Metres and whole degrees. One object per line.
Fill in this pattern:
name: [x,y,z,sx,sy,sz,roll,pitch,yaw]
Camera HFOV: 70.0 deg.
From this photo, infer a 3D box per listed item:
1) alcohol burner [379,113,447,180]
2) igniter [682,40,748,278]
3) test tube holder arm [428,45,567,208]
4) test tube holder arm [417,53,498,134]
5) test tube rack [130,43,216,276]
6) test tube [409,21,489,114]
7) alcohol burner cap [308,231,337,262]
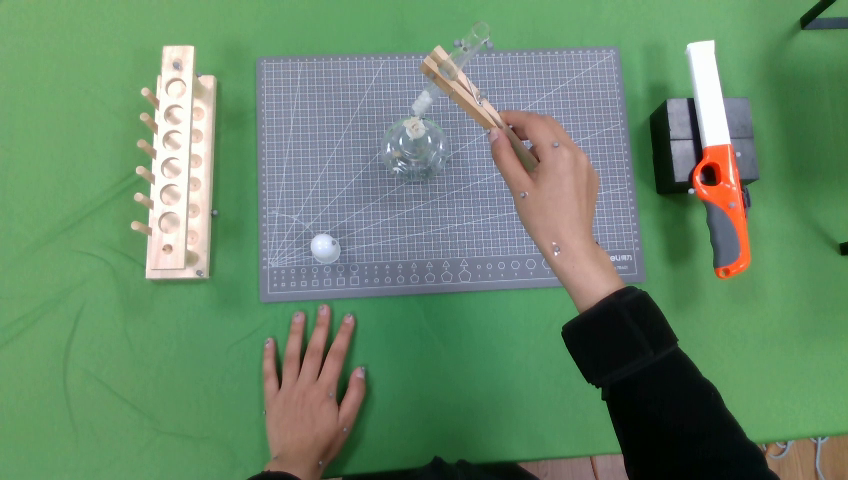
alcohol burner: [-0.012,-0.109,0.672,0.078,0.119,0.077,0,81,-2]
igniter: [0.328,-0.095,0.687,0.057,0.025,0.275,-5,80,8]
test tube holder arm: [0.066,-0.098,0.531,0.179,0.015,0.013,47,67,-7]
test tube holder arm: [0.031,-0.125,0.523,0.088,0.015,0.010,40,68,-10]
test tube rack: [-0.280,-0.085,0.670,0.067,0.085,0.241,-1,80,-3]
test tube: [0.017,-0.143,0.523,0.017,0.150,0.017,5,77,-20]
alcohol burner cap: [-0.116,0.005,0.682,0.034,0.048,0.033,1,80,-5]
